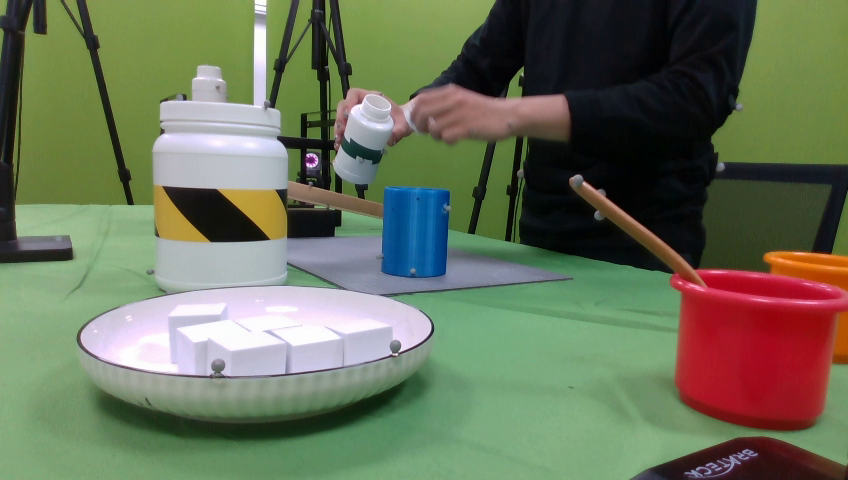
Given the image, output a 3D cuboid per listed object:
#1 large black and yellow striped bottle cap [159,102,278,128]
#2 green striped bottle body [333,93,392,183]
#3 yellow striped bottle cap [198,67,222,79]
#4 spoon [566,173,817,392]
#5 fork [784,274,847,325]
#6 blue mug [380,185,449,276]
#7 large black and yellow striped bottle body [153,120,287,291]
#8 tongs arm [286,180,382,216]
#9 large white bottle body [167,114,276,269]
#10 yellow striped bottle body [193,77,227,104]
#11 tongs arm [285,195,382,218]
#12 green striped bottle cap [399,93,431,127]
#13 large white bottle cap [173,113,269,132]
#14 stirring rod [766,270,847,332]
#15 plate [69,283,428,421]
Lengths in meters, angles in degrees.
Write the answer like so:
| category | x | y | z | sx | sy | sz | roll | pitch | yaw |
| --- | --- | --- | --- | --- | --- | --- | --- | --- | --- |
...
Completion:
| category | x | y | z | sx | sy | sz | roll | pitch | yaw |
| --- | --- | --- | --- | --- | --- | --- | --- | --- | --- |
| large black and yellow striped bottle cap | -0.207 | -0.125 | 0.615 | 0.115 | 0.019 | 0.115 | 2 | 6 | 0 |
| green striped bottle body | -0.084 | -0.144 | 0.848 | 0.063 | 0.119 | 0.063 | 16 | 36 | -12 |
| yellow striped bottle cap | -0.411 | -0.320 | 1.162 | 0.044 | 0.018 | 0.044 | 0 | 5 | 0 |
| spoon | 0.161 | 0.024 | 0.370 | 0.193 | 0.021 | 0.042 | 47 | 18 | 3 |
| fork | 0.332 | 0.018 | 0.443 | 0.028 | 0.018 | 0.207 | -1 | -36 | -15 |
| blue mug | -0.019 | -0.016 | 0.764 | 0.083 | 0.106 | 0.116 | -1 | 8 | -25 |
| large black and yellow striped bottle body | -0.208 | -0.042 | 0.626 | 0.131 | 0.184 | 0.130 | 2 | 7 | 0 |
| tongs arm | -0.122 | -0.066 | 1.147 | 0.387 | 0.026 | 0.050 | 11 | -2 | -37 |
| large white bottle body | -0.256 | -0.063 | 0.772 | 0.131 | 0.184 | 0.130 | 2 | 7 | 0 |
| yellow striped bottle body | -0.414 | -0.268 | 1.169 | 0.063 | 0.120 | 0.063 | 2 | 7 | 0 |
| tongs arm | -0.165 | -0.074 | 1.216 | 0.389 | 0.027 | 0.028 | 11 | -6 | -24 |
| green striped bottle cap | -0.011 | -0.178 | 0.825 | 0.020 | 0.044 | 0.044 | -35 | -16 | 34 |
| large white bottle cap | -0.254 | -0.146 | 0.760 | 0.115 | 0.018 | 0.115 | 1 | 7 | 0 |
| stirring rod | 0.352 | 0.020 | 0.484 | 0.176 | 0.006 | 0.014 | -40 | -7 | 13 |
| plate | -0.102 | 0.066 | 0.381 | 0.208 | 0.039 | 0.207 | 2 | 7 | 0 |
